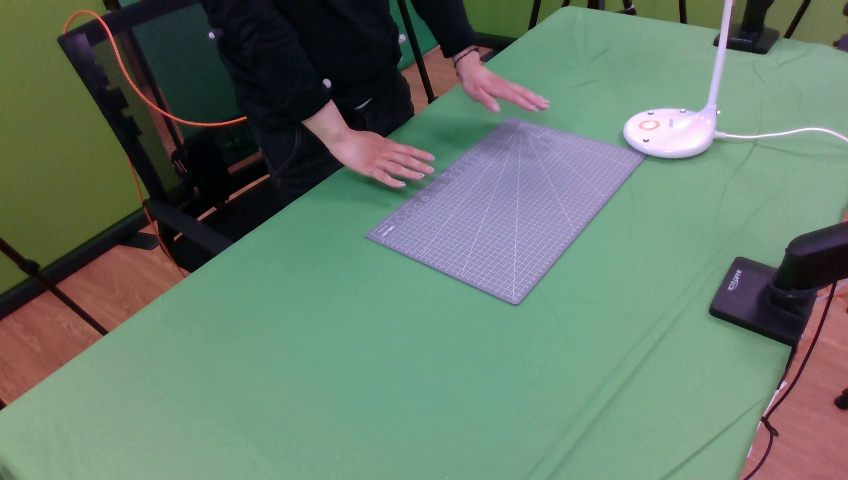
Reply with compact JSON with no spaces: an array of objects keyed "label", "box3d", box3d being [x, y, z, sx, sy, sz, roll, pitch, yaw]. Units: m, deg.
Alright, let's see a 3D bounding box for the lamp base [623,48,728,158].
[{"label":"lamp base","box3d":[0.462,-0.261,1.084,0.179,0.181,0.160,3,42,7]}]
